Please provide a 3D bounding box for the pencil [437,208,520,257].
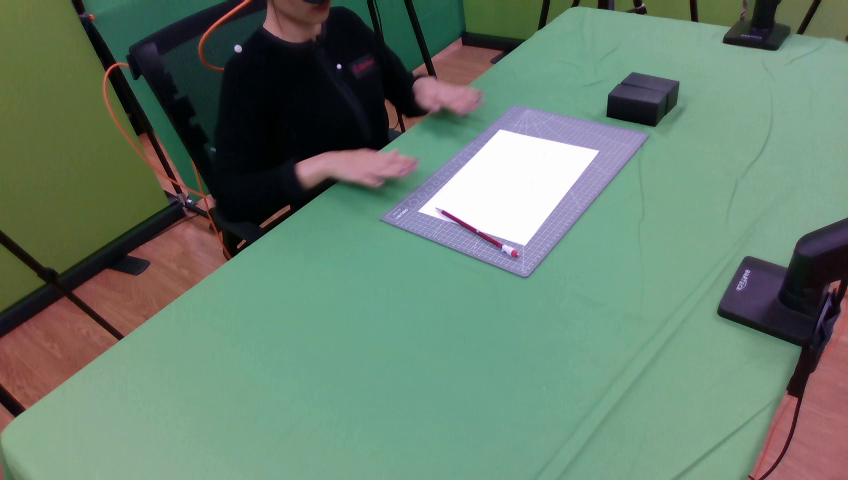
[{"bbox_3d":[0.083,-0.016,0.990,0.012,0.012,0.192,-34,45,-26],"label":"pencil"}]
